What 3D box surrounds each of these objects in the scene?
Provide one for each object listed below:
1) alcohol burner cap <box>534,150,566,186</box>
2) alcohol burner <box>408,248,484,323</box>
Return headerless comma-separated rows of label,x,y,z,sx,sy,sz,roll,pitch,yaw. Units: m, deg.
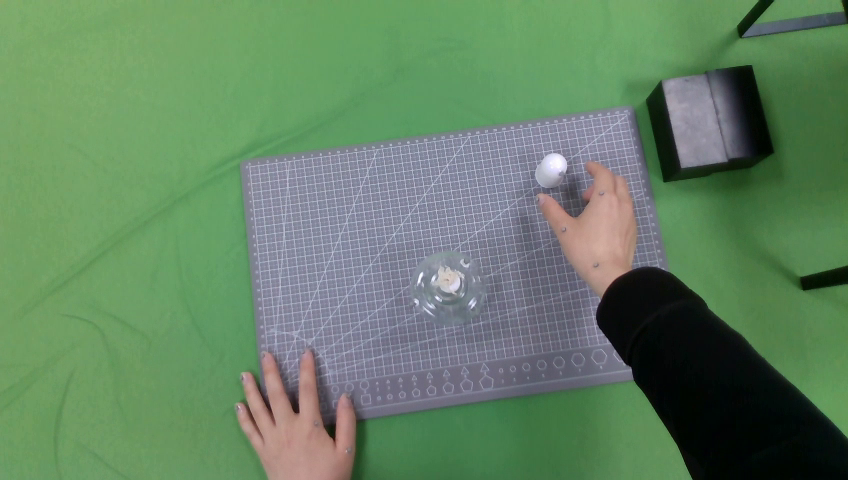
alcohol burner cap,0.139,-0.081,0.657,0.034,0.048,0.033,0,80,2
alcohol burner,0.022,0.043,0.600,0.078,0.119,0.077,0,81,2
